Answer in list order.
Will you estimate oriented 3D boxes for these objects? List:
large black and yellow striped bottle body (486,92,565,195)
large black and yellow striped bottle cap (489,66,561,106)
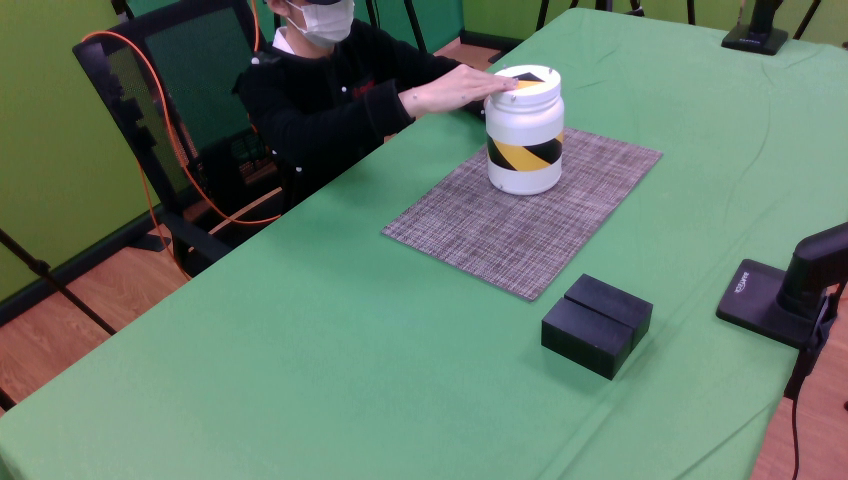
[{"bbox_3d":[0.173,-0.184,1.034,0.131,0.185,0.130,-5,41,4],"label":"large black and yellow striped bottle body"},{"bbox_3d":[0.163,-0.251,0.977,0.115,0.019,0.114,-5,39,5],"label":"large black and yellow striped bottle cap"}]
